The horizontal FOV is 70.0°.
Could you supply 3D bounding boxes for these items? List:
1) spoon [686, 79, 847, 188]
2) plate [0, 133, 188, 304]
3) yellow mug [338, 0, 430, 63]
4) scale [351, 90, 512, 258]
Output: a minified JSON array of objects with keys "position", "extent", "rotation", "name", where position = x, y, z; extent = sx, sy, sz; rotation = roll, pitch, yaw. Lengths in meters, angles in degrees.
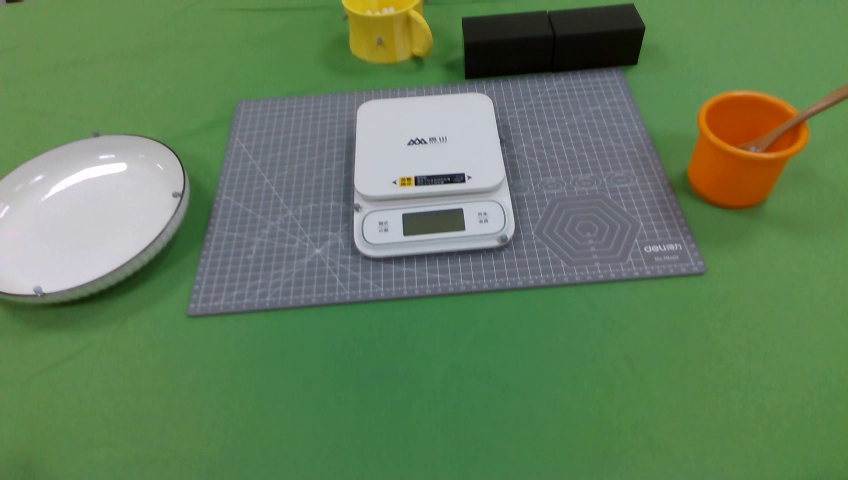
[{"position":[0.322,-0.104,0.528],"extent":[0.022,0.194,0.041],"rotation":[23,45,-36],"name":"spoon"},{"position":[-0.330,-0.022,0.584],"extent":[0.209,0.038,0.207],"rotation":[-2,51,2],"name":"plate"},{"position":[-0.041,-0.269,0.744],"extent":[0.129,0.064,0.100],"rotation":[35,62,28],"name":"yellow mug"},{"position":[0.002,-0.072,0.599],"extent":[0.149,0.032,0.199],"rotation":[-5,51,1],"name":"scale"}]
